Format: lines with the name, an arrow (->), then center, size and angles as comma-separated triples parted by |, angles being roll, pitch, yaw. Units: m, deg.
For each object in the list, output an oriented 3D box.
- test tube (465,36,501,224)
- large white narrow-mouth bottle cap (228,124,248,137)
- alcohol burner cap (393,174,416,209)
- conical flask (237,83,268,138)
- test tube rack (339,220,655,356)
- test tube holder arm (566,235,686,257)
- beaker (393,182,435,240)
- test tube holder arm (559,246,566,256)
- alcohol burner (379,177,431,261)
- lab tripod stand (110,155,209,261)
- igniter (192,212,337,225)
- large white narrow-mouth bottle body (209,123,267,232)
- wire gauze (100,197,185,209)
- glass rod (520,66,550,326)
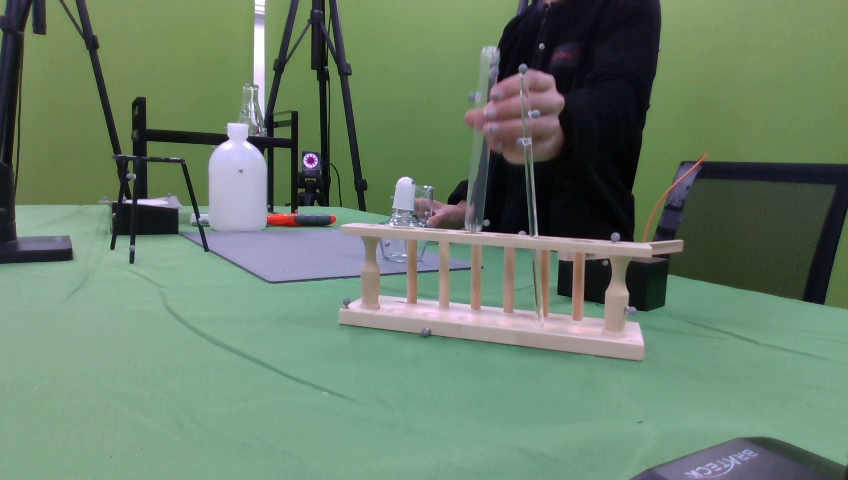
test tube -> 0.047, -0.087, 0.483 | 0.017, 0.150, 0.017 | 5, 1, 0
large white narrow-mouth bottle cap -> -0.338, -0.198, 1.097 | 0.038, 0.024, 0.037 | 2, 8, 0
alcohol burner cap -> -0.025, -0.067, 0.834 | 0.034, 0.048, 0.034 | 8, 7, -1
conical flask -> -0.402, -0.299, 1.406 | 0.075, 0.122, 0.075 | 2, 7, 0
test tube rack -> 0.056, 0.032, 0.495 | 0.242, 0.085, 0.067 | 4, 7, 15
test tube holder arm -> 0.215, 0.006, 0.630 | 0.179, 0.015, 0.013 | -3, 9, -31
beaker -> -0.017, -0.052, 1.081 | 0.074, 0.100, 0.083 | -3, 10, -32
test tube holder arm -> 0.173, 0.007, 0.612 | 0.088, 0.015, 0.010 | -3, 9, -29
alcohol burner -> -0.027, -0.031, 0.838 | 0.078, 0.119, 0.078 | 0, 6, 0
lab tripod stand -> -0.361, -0.046, 0.806 | 0.148, 0.131, 0.148 | 2, 5, 0
igniter -> -0.312, -0.043, 1.203 | 0.278, 0.025, 0.057 | -1, -5, -25
large white narrow-mouth bottle body -> -0.340, -0.115, 1.109 | 0.102, 0.194, 0.102 | 2, 8, 0
wire gauze -> -0.469, -0.062, 1.008 | 0.126, 0.011, 0.121 | -2, 8, -25
glass rod -> 0.085, -0.029, 0.458 | 0.008, 0.199, 0.008 | -7, 11, 2
